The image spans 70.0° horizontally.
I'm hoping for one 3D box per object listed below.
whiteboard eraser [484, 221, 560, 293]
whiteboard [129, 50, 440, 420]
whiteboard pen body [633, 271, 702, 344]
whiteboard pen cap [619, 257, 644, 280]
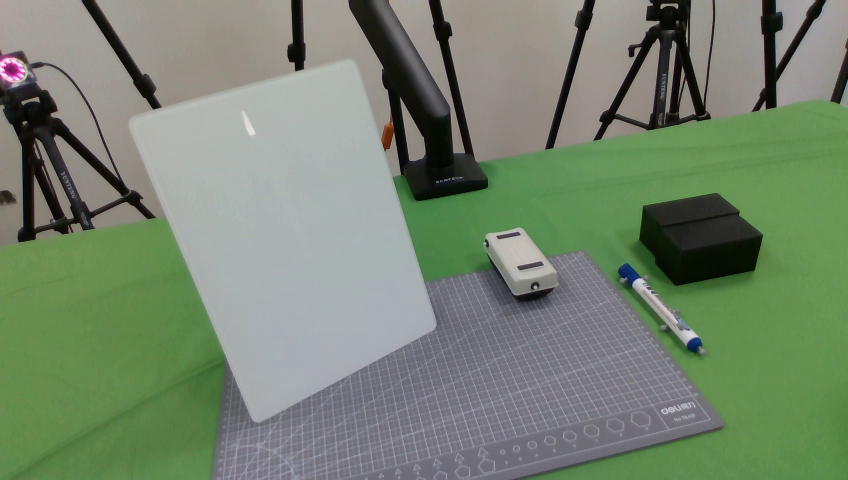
[{"bbox_3d":[0.116,0.020,0.732,0.056,0.042,0.111,-14,34,-8],"label":"whiteboard eraser"},{"bbox_3d":[-0.145,-0.014,0.643,0.217,0.307,0.143,-24,18,-24],"label":"whiteboard"},{"bbox_3d":[0.259,0.066,0.667,0.017,0.017,0.139,-12,33,-8],"label":"whiteboard pen body"},{"bbox_3d":[0.245,0.035,0.714,0.018,0.018,0.033,-12,32,-9],"label":"whiteboard pen cap"}]
